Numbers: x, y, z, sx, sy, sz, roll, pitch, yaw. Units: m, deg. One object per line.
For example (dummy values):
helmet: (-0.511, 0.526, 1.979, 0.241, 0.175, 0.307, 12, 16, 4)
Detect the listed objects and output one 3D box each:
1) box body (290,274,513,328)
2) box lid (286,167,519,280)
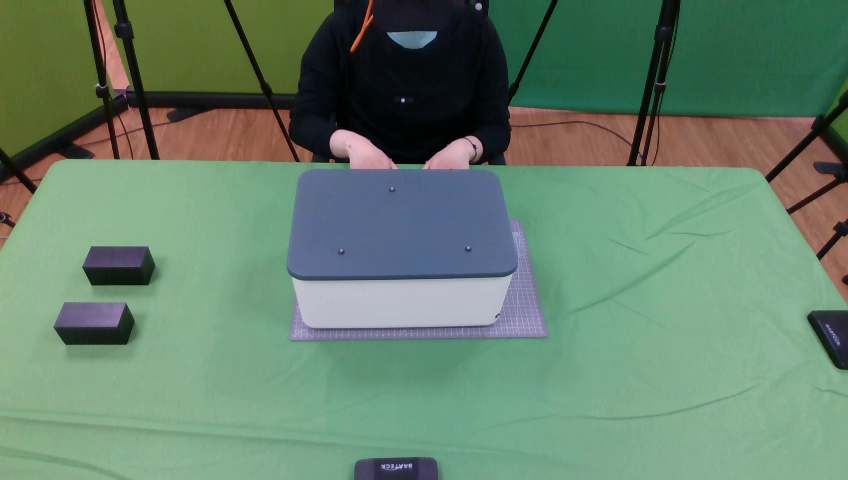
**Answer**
box body: (-0.040, 0.015, 1.075, 0.364, 0.161, 0.252, -1, 47, -4)
box lid: (-0.035, -0.036, 1.021, 0.372, 0.015, 0.261, -1, 46, -4)
